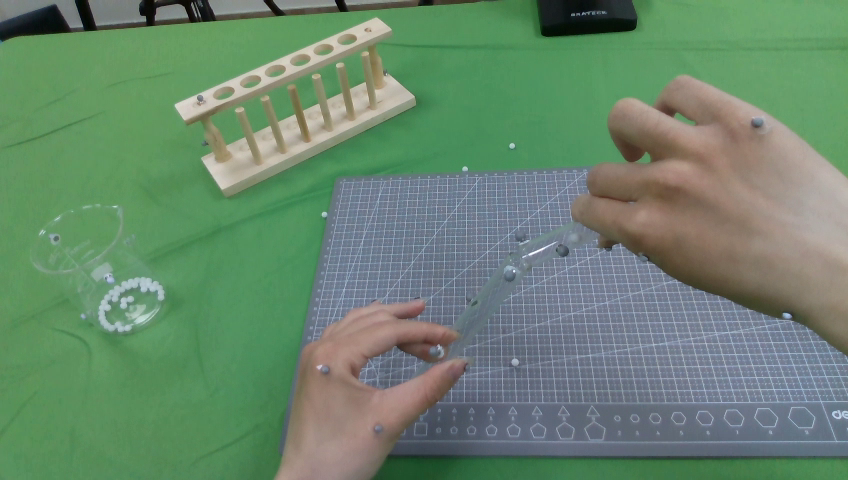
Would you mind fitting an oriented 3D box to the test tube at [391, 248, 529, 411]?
[{"bbox_3d":[0.018,0.062,0.388,0.017,0.151,0.017,26,31,-16],"label":"test tube"}]

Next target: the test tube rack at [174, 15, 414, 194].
[{"bbox_3d":[-0.134,-0.152,0.666,0.242,0.086,0.066,-30,53,-17],"label":"test tube rack"}]

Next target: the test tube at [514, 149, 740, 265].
[{"bbox_3d":[0.123,-0.021,0.360,0.150,0.017,0.017,-23,51,-8],"label":"test tube"}]

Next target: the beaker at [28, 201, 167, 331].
[{"bbox_3d":[-0.275,0.024,0.528,0.073,0.101,0.083,21,55,22],"label":"beaker"}]
